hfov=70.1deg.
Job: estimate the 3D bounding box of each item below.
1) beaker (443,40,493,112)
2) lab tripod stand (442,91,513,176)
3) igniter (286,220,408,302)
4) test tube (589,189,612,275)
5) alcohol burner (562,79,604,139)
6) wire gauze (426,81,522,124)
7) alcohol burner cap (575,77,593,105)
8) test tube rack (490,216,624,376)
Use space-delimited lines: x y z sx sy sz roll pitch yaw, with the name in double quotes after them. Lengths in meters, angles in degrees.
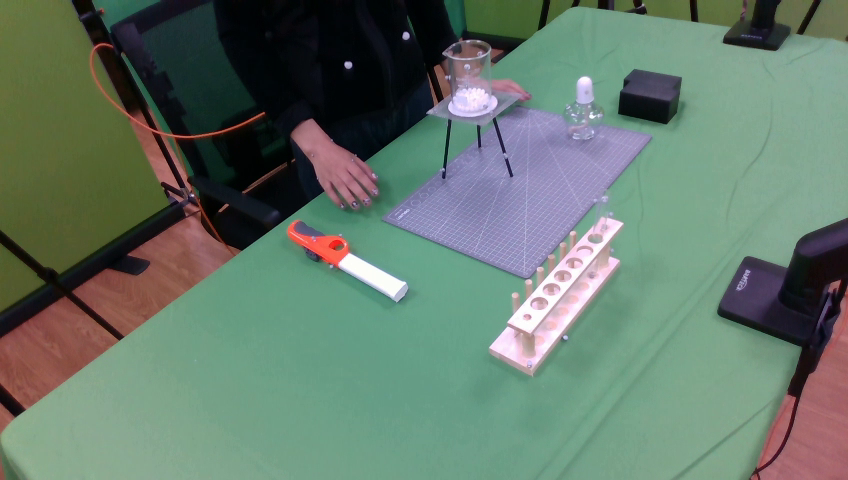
0.076 -0.276 1.023 0.083 0.101 0.074 5 42 15 "beaker"
0.096 -0.190 1.096 0.148 0.132 0.147 -4 40 4 "lab tripod stand"
-0.134 0.028 0.969 0.274 0.025 0.057 26 61 35 "igniter"
0.238 -0.007 0.818 0.017 0.151 0.017 -3 43 4 "test tube"
0.303 -0.253 1.147 0.078 0.119 0.077 -4 41 4 "alcohol burner"
0.088 -0.237 1.051 0.120 0.011 0.125 23 47 29 "wire gauze"
0.297 -0.279 1.123 0.034 0.048 0.033 -8 41 8 "alcohol burner cap"
0.184 0.064 0.822 0.066 0.085 0.243 24 50 33 "test tube rack"
